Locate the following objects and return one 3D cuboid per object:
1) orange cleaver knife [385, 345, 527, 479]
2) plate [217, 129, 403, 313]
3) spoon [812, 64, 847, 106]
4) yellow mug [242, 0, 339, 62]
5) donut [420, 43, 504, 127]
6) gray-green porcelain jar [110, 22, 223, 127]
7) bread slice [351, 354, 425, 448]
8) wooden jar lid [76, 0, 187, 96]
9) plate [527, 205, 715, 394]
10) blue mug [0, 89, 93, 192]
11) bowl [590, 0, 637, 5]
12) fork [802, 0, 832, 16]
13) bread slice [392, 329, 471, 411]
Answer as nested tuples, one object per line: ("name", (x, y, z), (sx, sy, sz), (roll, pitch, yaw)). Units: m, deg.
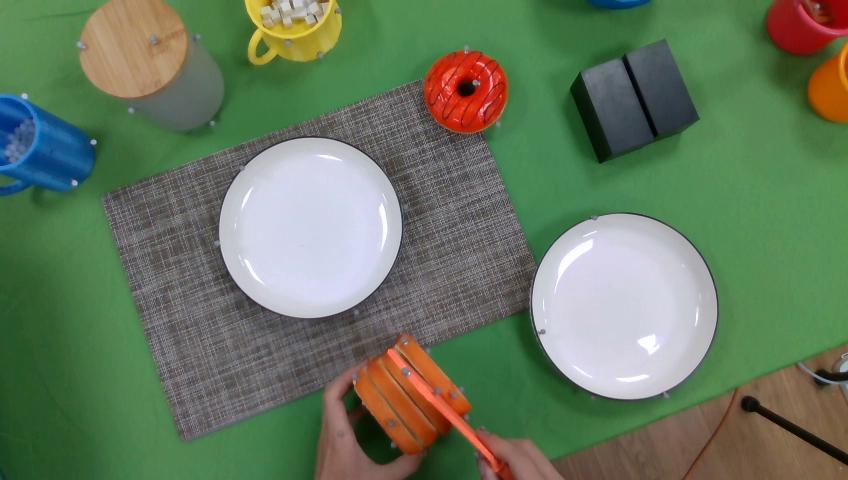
("orange cleaver knife", (0.038, 0.166, 0.541), (0.012, 0.076, 0.213), (-44, 117, -6))
("plate", (-0.127, -0.021, 0.692), (0.208, 0.039, 0.207), (0, 85, 0))
("spoon", (0.527, -0.206, 0.656), (0.022, 0.193, 0.041), (-19, 81, -46))
("yellow mug", (-0.163, -0.260, 0.704), (0.100, 0.064, 0.131), (37, 87, 4))
("donut", (0.044, -0.179, 0.702), (0.099, 0.048, 0.099), (0, 85, 0))
("gray-green porcelain jar", (-0.288, -0.187, 0.667), (0.106, 0.127, 0.105), (0, 84, 0))
("bread slice", (-0.038, 0.167, 0.630), (0.019, 0.132, 0.104), (-40, 86, -4))
("wooden jar lid", (-0.289, -0.194, 0.605), (0.108, 0.021, 0.108), (0, 83, 1))
("plate", (0.219, 0.066, 0.686), (0.209, 0.038, 0.208), (0, 85, 1))
("blue mug", (-0.446, -0.097, 0.668), (0.082, 0.106, 0.116), (43, 86, 5))
("bowl", (0.217, -0.335, 0.703), (0.151, 0.077, 0.151), (0, 85, 0))
("fork", (0.407, -0.269, 0.663), (0.208, 0.018, 0.028), (-9, 83, -42))
("bread slice", (0.007, 0.138, 0.631), (0.018, 0.134, 0.107), (-43, 88, -11))
